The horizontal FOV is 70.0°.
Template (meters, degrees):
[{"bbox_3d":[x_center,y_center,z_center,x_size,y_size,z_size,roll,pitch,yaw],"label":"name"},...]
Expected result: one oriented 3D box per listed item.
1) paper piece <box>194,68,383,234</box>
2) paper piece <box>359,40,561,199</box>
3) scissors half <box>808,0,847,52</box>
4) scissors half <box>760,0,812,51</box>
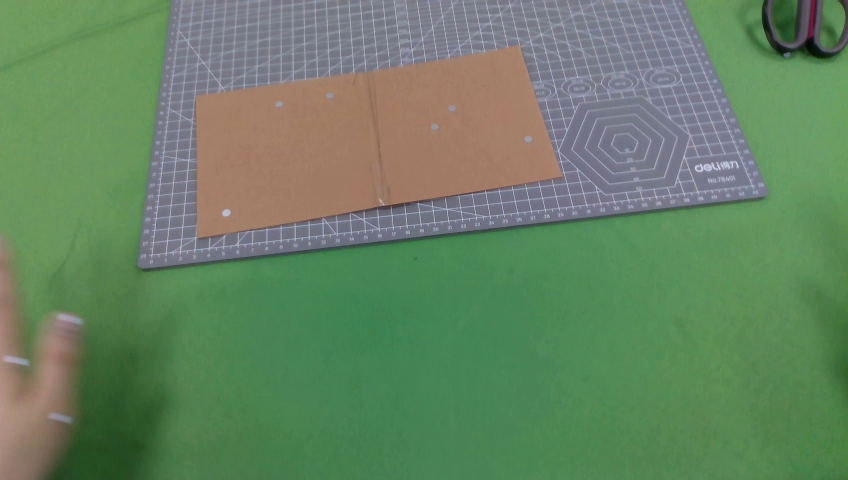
[{"bbox_3d":[-0.107,-0.074,0.464,0.138,0.009,0.134,-10,59,-2],"label":"paper piece"},{"bbox_3d":[0.024,-0.097,0.470,0.136,0.004,0.134,-9,62,-3],"label":"paper piece"},{"bbox_3d":[0.330,-0.239,0.495,0.040,0.013,0.174,-2,84,11],"label":"scissors half"},{"bbox_3d":[0.311,-0.241,0.498,0.040,0.013,0.175,15,86,7],"label":"scissors half"}]
